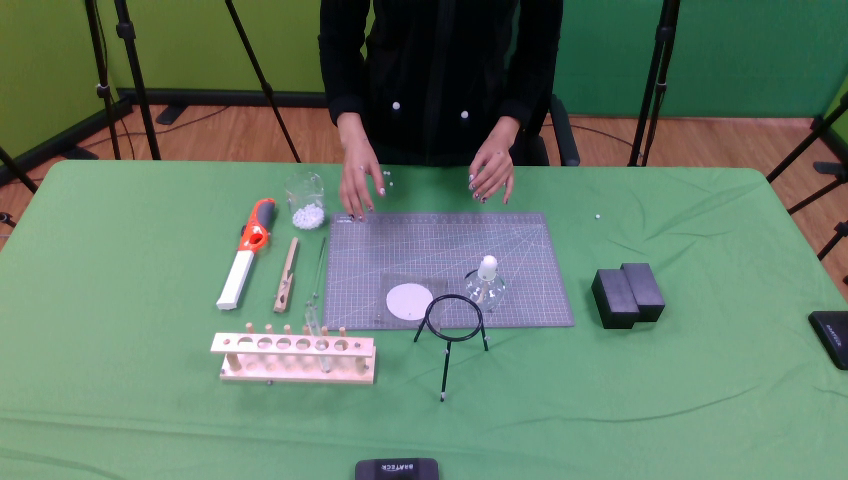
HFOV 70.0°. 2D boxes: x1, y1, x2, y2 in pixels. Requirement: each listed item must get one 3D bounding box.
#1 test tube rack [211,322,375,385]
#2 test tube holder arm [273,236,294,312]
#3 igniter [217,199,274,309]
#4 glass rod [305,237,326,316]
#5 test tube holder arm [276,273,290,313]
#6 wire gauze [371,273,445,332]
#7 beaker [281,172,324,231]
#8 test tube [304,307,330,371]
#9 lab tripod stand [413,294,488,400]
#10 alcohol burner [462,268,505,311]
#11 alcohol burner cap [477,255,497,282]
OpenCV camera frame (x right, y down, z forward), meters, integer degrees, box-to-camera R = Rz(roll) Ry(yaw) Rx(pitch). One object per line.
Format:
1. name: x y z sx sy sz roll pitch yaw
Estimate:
1. test tube rack: -0.203 0.176 0.969 0.242 0.085 0.066 3 46 -2
2. test tube holder arm: -0.259 0.059 1.123 0.013 0.015 0.177 28 39 -28
3. igniter: -0.336 0.017 1.153 0.057 0.025 0.275 -2 45 8
4. glass rod: -0.202 0.063 1.131 0.008 0.008 0.198 3 44 0
5. test tube holder arm: -0.254 0.093 1.094 0.010 0.015 0.087 29 38 -27
6. wire gauze: -0.028 0.109 1.099 0.125 0.011 0.121 7 45 4
7. beaker: -0.234 -0.073 1.198 0.084 0.101 0.074 24 50 17
8. test tube: -0.162 0.154 0.924 0.017 0.151 0.017 -2 45 2
9. lab tripod stand: 0.045 0.159 0.972 0.148 0.132 0.147 2 44 -2
10. alcohol burner: 0.108 0.071 1.072 0.078 0.119 0.077 4 45 -3
11. alcohol burner cap: 0.110 0.047 1.046 0.034 0.048 0.033 2 52 -2
